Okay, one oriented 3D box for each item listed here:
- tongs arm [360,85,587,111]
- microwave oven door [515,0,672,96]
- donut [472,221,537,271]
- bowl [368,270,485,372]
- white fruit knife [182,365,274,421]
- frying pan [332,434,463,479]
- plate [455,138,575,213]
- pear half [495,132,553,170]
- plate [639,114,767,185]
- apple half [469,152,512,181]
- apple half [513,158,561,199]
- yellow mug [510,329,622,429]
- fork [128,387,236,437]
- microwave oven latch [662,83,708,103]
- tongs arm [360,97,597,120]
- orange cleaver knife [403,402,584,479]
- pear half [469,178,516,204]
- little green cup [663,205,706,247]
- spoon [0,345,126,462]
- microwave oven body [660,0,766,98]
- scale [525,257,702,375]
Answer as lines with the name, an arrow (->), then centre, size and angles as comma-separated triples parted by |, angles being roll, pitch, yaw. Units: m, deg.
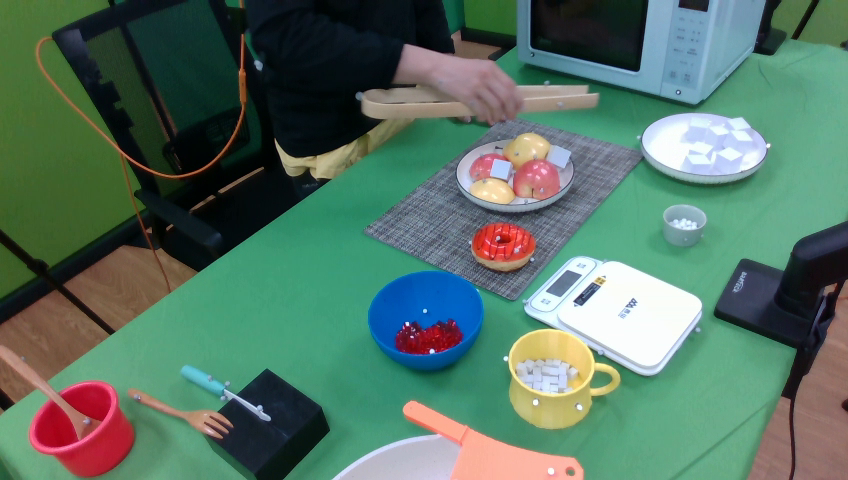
tongs arm -> 0.089, -0.231, 0.990 | 0.386, 0.026, 0.050 | -2, 41, -8
microwave oven door -> 0.343, -0.454, 1.259 | 0.353, 0.245, 0.039 | 26, 51, 33
donut -> 0.123, 0.008, 0.923 | 0.099, 0.048, 0.098 | -3, 38, 3
bowl -> 0.007, 0.118, 0.791 | 0.151, 0.077, 0.150 | -5, 39, 4
white fruit knife -> -0.245, 0.188, 0.747 | 0.205, 0.027, 0.016 | 9, 41, 41
frying pan -> -0.089, 0.306, 0.564 | 0.487, 0.103, 0.306 | 10, 41, 7
plate -> 0.159, -0.111, 1.063 | 0.209, 0.038, 0.208 | -4, 40, 4
pear half -> 0.174, -0.168, 1.094 | 0.109, 0.056, 0.076 | 15, 54, 30
plate -> 0.489, -0.157, 1.074 | 0.207, 0.039, 0.206 | -4, 40, 4
apple half -> 0.120, -0.139, 1.088 | 0.081, 0.033, 0.081 | 0, 44, 1
apple half -> 0.193, -0.111, 1.031 | 0.080, 0.053, 0.075 | 11, 40, 26
yellow mug -> 0.168, 0.164, 0.721 | 0.130, 0.064, 0.099 | 0, 40, 8
fork -> -0.305, 0.207, 0.744 | 0.206, 0.019, 0.028 | 3, 41, 36
microwave oven latch -> 0.518, -0.296, 1.204 | 0.078, 0.029, 0.030 | 28, 52, 35
tongs arm -> 0.093, -0.214, 0.970 | 0.389, 0.028, 0.028 | -4, 45, -10
orange cleaver knife -> 0.062, 0.222, 0.609 | 0.210, 0.012, 0.077 | 15, 48, 25
pear half -> 0.115, -0.090, 1.035 | 0.087, 0.031, 0.071 | 28, 38, 32
little green cup -> 0.396, -0.020, 0.926 | 0.061, 0.039, 0.061 | -4, 40, 4
spoon -> -0.434, 0.192, 0.720 | 0.194, 0.021, 0.042 | 47, 53, -6
microwave oven body -> 0.472, -0.513, 1.317 | 0.438, 0.261, 0.327 | 26, 51, 34
scale -> 0.254, 0.091, 0.821 | 0.199, 0.032, 0.149 | 27, 51, 35
